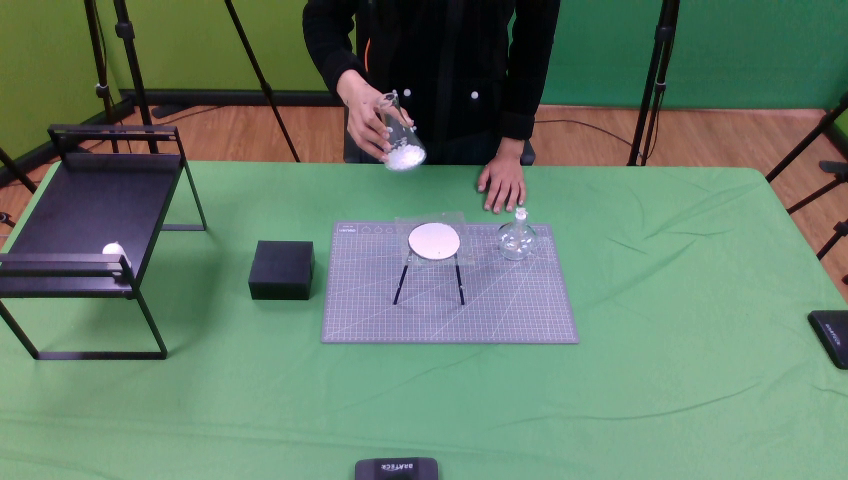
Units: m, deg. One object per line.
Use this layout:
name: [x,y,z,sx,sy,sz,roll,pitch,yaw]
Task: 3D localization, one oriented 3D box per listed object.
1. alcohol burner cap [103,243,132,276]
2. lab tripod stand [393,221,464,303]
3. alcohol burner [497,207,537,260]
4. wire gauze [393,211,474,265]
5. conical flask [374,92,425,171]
alcohol burner cap: [-0.446,0.025,0.875,0.034,0.048,0.033,3,46,-3]
lab tripod stand: [0.010,0.045,1.074,0.148,0.132,0.147,2,48,-2]
alcohol burner: [0.180,-0.019,1.163,0.078,0.120,0.077,1,48,-1]
wire gauze: [0.015,-0.003,1.028,0.125,0.011,0.120,-4,47,-7]
conical flask: [-0.048,-0.180,1.000,0.075,0.122,0.075,-11,37,9]
